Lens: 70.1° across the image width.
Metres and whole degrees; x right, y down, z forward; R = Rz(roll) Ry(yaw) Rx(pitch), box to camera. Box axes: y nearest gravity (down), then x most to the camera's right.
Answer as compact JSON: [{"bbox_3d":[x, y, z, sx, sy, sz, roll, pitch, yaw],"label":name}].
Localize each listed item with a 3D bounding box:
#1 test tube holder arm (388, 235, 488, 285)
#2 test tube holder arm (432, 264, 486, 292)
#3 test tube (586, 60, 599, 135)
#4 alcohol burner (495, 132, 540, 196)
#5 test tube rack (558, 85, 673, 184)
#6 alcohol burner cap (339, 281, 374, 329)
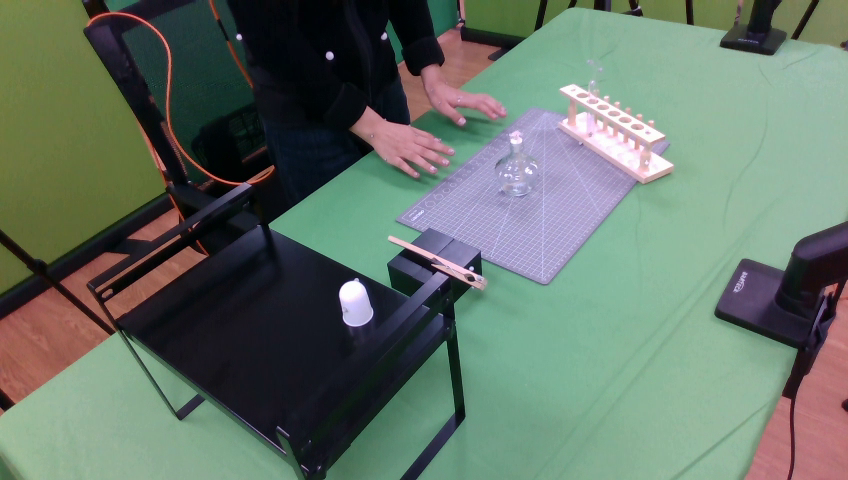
[{"bbox_3d":[0.016,0.027,0.863,0.177,0.015,0.013,25,83,34],"label":"test tube holder arm"},{"bbox_3d":[0.047,0.049,0.837,0.087,0.015,0.010,27,84,34],"label":"test tube holder arm"},{"bbox_3d":[0.306,-0.256,1.100,0.017,0.151,0.017,-6,44,6],"label":"test tube"},{"bbox_3d":[0.159,-0.135,1.035,0.078,0.119,0.077,-5,42,5],"label":"alcohol burner"},{"bbox_3d":[0.347,-0.203,1.109,0.067,0.085,0.240,-22,42,-17],"label":"test tube rack"},{"bbox_3d":[-0.071,0.063,0.617,0.034,0.048,0.033,-5,39,4],"label":"alcohol burner cap"}]
